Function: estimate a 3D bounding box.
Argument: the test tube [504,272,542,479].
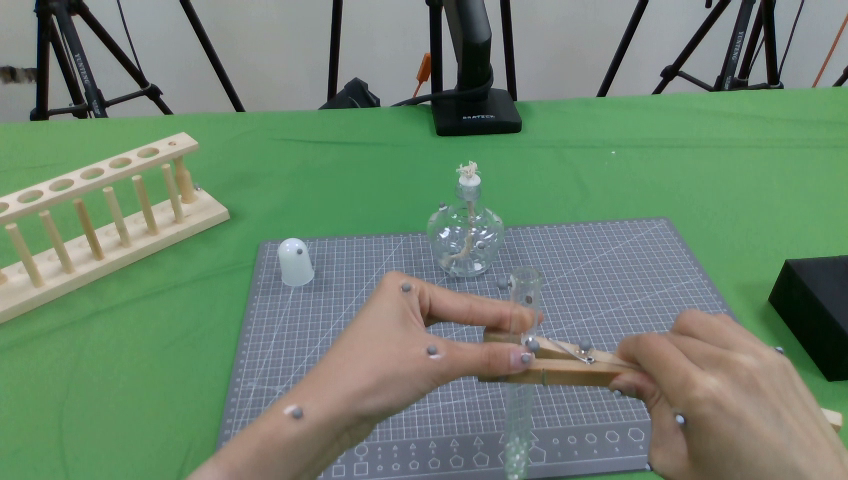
[{"bbox_3d":[0.055,0.085,0.345,0.017,0.151,0.017,-2,28,1],"label":"test tube"}]

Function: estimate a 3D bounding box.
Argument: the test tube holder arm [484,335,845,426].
[{"bbox_3d":[0.119,0.073,0.321,0.178,0.015,0.013,7,47,17],"label":"test tube holder arm"}]

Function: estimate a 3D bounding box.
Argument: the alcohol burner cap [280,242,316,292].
[{"bbox_3d":[-0.125,0.024,0.592,0.034,0.048,0.033,0,39,0],"label":"alcohol burner cap"}]

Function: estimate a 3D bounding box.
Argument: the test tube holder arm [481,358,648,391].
[{"bbox_3d":[0.075,0.073,0.329,0.087,0.015,0.010,0,45,11],"label":"test tube holder arm"}]

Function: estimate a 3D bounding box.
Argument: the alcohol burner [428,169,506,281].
[{"bbox_3d":[0.042,-0.019,0.585,0.078,0.120,0.077,1,39,0],"label":"alcohol burner"}]

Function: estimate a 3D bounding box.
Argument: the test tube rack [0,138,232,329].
[{"bbox_3d":[-0.327,-0.015,0.613,0.242,0.086,0.066,-30,47,-33],"label":"test tube rack"}]
